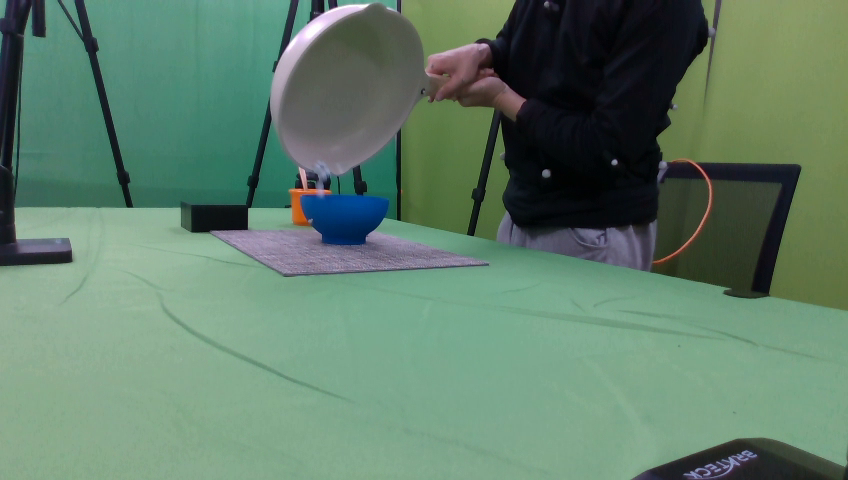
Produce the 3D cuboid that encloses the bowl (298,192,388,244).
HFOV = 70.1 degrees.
[{"bbox_3d":[-0.136,-0.037,1.018,0.151,0.077,0.151,3,7,0],"label":"bowl"}]

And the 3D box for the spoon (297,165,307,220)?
[{"bbox_3d":[-0.264,-0.113,1.338,0.042,0.193,0.021,0,-37,-21],"label":"spoon"}]

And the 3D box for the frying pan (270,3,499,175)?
[{"bbox_3d":[-0.048,-0.268,1.050,0.490,0.306,0.102,-13,49,-37],"label":"frying pan"}]
